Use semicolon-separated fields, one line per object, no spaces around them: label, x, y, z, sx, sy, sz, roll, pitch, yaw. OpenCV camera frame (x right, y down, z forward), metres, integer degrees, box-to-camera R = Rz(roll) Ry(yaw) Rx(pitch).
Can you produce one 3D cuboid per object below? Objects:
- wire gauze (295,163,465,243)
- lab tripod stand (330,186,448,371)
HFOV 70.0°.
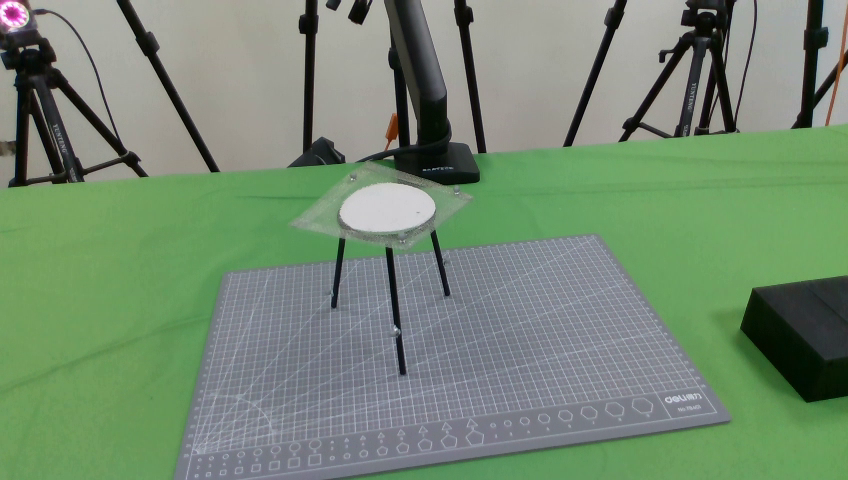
wire gauze;-0.032;-0.039;0.527;0.125;0.011;0.120;11;30;5
lab tripod stand;-0.031;0.029;0.576;0.148;0.132;0.147;0;34;0
